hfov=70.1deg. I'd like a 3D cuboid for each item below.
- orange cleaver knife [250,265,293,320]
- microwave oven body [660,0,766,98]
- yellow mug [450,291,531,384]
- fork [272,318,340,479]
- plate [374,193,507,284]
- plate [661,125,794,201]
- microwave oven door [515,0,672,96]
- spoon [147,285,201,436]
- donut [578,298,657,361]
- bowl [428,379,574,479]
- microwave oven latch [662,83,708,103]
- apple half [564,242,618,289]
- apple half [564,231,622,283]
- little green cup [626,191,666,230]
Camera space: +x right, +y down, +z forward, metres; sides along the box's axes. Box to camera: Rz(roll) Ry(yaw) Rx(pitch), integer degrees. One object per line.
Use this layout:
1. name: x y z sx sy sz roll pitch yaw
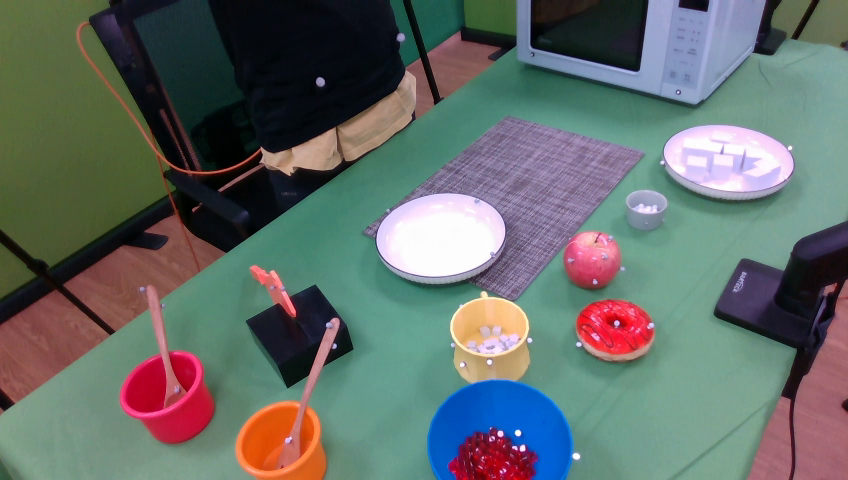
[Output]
1. orange cleaver knife: -0.222 0.072 0.876 0.012 0.077 0.210 -23 13 -22
2. microwave oven body: 0.472 -0.513 1.317 0.438 0.261 0.327 26 51 34
3. yellow mug: 0.085 0.120 0.786 0.100 0.064 0.130 -7 39 1
4. fork: -0.131 0.186 0.676 0.028 0.019 0.207 18 90 28
5. plate: 0.027 0.000 0.952 0.209 0.038 0.208 -4 40 4
6. plate: 0.513 -0.128 1.035 0.207 0.039 0.206 -4 40 4
7. microwave oven door: 0.343 -0.455 1.259 0.353 0.245 0.039 26 51 33
8. spoon: -0.318 0.148 0.755 0.042 0.021 0.193 -15 86 -9
9. donut: 0.250 0.115 0.786 0.099 0.048 0.098 -5 37 4
10. bowl: 0.082 0.233 0.644 0.151 0.077 0.150 -4 39 4
11. microwave oven latch: 0.518 -0.296 1.204 0.078 0.029 0.030 27 52 35
12. apple half: 0.229 0.044 0.848 0.081 0.081 0.033 16 41 26
13. apple half: 0.248 0.021 0.874 0.080 0.075 0.053 13 40 28
14. little green cup: 0.352 -0.046 0.963 0.061 0.039 0.061 -4 40 4
